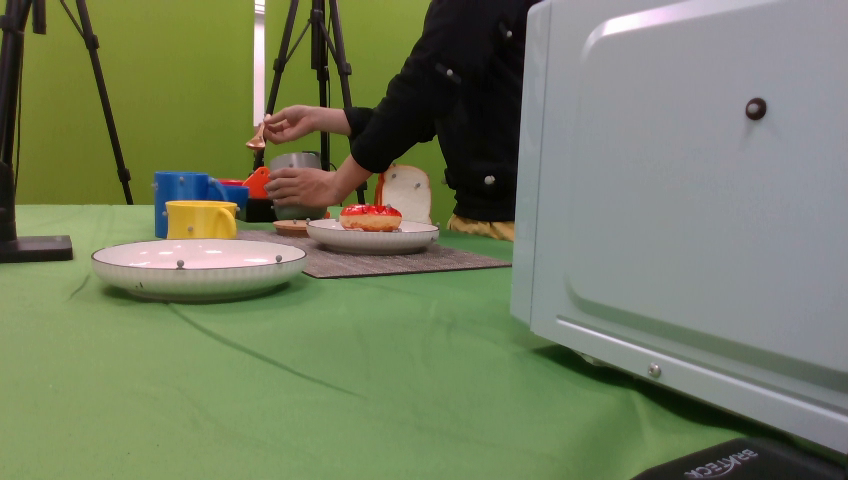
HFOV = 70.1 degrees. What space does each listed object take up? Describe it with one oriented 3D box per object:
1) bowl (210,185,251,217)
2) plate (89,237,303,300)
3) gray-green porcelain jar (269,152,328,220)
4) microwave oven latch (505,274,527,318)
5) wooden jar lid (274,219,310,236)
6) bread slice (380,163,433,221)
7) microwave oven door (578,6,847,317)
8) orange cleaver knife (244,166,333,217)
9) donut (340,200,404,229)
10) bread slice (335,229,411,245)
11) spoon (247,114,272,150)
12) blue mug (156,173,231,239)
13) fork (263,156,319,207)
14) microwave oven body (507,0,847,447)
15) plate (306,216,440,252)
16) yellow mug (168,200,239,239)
[{"bbox_3d":[-0.408,-0.064,1.154,0.151,0.077,0.151,2,8,0],"label":"bowl"},{"bbox_3d":[-0.233,0.029,0.637,0.208,0.039,0.207,2,7,0],"label":"plate"},{"bbox_3d":[-0.254,-0.102,1.231,0.106,0.126,0.106,-10,-12,-2],"label":"gray-green porcelain jar"},{"bbox_3d":[0.100,0.041,0.472,0.079,0.029,0.030,-2,8,-30],"label":"microwave oven latch"},{"bbox_3d":[-0.213,-0.023,1.081,0.108,0.020,0.108,3,7,0],"label":"wooden jar lid"},{"bbox_3d":[-0.035,-0.076,1.126,0.107,0.134,0.018,-4,1,-25],"label":"bread slice"},{"bbox_3d":[0.294,-0.067,0.570,0.358,0.243,0.039,-3,9,-31],"label":"microwave oven door"},{"bbox_3d":[-0.300,-0.089,1.351,0.212,0.077,0.012,32,-10,-34],"label":"orange cleaver knife"},{"bbox_3d":[-0.081,-0.038,0.945,0.099,0.048,0.099,1,5,0],"label":"donut"},{"bbox_3d":[-0.074,-0.005,0.938,0.105,0.019,0.131,-1,4,-19],"label":"bread slice"},{"bbox_3d":[-0.374,-0.254,1.406,0.042,0.021,0.193,5,37,-4],"label":"spoon"},{"bbox_3d":[-0.381,-0.057,1.004,0.117,0.106,0.082,0,8,-12],"label":"blue mug"},{"bbox_3d":[-0.331,-0.143,1.506,0.207,0.018,0.028,-42,-18,22],"label":"fork"},{"bbox_3d":[0.331,-0.042,0.425,0.444,0.260,0.324,-2,8,-31],"label":"microwave oven body"},{"bbox_3d":[-0.079,-0.011,0.950,0.209,0.038,0.209,2,8,0],"label":"plate"},{"bbox_3d":[-0.319,-0.023,0.904,0.130,0.064,0.100,9,11,36],"label":"yellow mug"}]
